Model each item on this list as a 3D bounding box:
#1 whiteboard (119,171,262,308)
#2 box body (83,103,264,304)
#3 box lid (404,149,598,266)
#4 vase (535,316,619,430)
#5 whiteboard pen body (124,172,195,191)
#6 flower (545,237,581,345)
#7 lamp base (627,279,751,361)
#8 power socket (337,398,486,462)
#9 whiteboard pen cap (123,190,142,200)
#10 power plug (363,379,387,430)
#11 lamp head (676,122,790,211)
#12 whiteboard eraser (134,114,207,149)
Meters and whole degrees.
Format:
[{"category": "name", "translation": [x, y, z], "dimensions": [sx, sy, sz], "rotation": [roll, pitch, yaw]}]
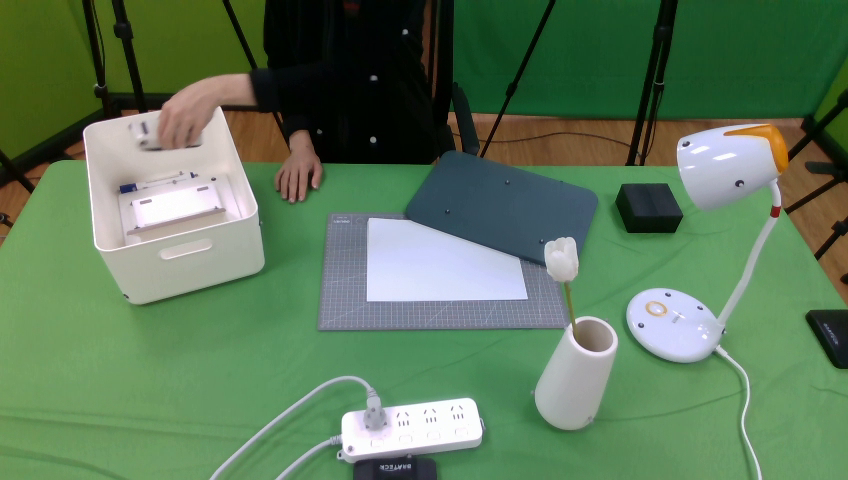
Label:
[{"category": "whiteboard", "translation": [-0.464, -0.059, 1.137], "dimensions": [0.217, 0.144, 0.303], "rotation": [-19, 51, -17]}, {"category": "box body", "translation": [-0.465, -0.076, 1.137], "dimensions": [0.254, 0.161, 0.361], "rotation": [-16, 49, -19]}, {"category": "box lid", "translation": [0.171, -0.073, 1.289], "dimensions": [0.371, 0.015, 0.262], "rotation": [19, 47, 14]}, {"category": "vase", "translation": [0.229, 0.200, 0.900], "dimensions": [0.098, 0.201, 0.097], "rotation": [3, 46, -3]}, {"category": "whiteboard pen body", "translation": [-0.553, -0.121, 1.268], "dimensions": [0.141, 0.017, 0.017], "rotation": [-16, 50, -18]}, {"category": "flower", "translation": [0.213, 0.137, 0.846], "dimensions": [0.038, 0.364, 0.044], "rotation": [22, 55, 40]}, {"category": "lamp base", "translation": [0.460, 0.100, 1.027], "dimensions": [0.178, 0.181, 0.160], "rotation": [27, 51, 17]}, {"category": "power socket", "translation": [-0.018, 0.285, 0.914], "dimensions": [0.227, 0.033, 0.071], "rotation": [-4, 46, -8]}, {"category": "whiteboard pen cap", "translation": [-0.592, -0.092, 1.232], "dimensions": [0.033, 0.018, 0.018], "rotation": [-14, 49, -17]}, {"category": "power plug", "translation": [-0.071, 0.252, 0.911], "dimensions": [0.035, 0.053, 0.072], "rotation": [3, 40, 0]}, {"category": "lamp head", "translation": [0.423, -0.104, 0.819], "dimensions": [0.122, 0.113, 0.112], "rotation": [-13, 33, 40]}, {"category": "whiteboard eraser", "translation": [-0.442, -0.189, 1.060], "dimensions": [0.113, 0.042, 0.055], "rotation": [-9, 60, -32]}]
